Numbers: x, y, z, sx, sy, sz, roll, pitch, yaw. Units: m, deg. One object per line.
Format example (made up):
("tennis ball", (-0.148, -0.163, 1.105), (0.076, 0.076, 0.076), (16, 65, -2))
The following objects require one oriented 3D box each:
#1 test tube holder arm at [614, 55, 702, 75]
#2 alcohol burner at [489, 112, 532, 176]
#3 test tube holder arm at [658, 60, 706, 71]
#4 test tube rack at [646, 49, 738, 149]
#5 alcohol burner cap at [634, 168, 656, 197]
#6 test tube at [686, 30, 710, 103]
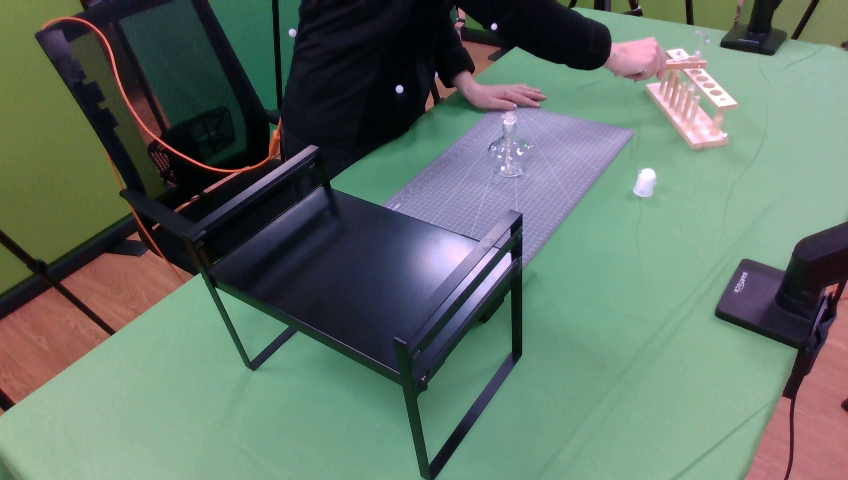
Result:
("test tube holder arm", (0.439, -0.328, 1.134), (0.179, 0.015, 0.013), (-10, 48, -10))
("alcohol burner", (0.155, -0.176, 1.084), (0.078, 0.119, 0.077), (-3, 41, 3))
("test tube holder arm", (0.484, -0.328, 1.136), (0.088, 0.015, 0.010), (4, 49, 2))
("test tube rack", (0.511, -0.280, 1.175), (0.067, 0.085, 0.241), (-8, 41, 0))
("alcohol burner cap", (0.374, -0.099, 1.018), (0.034, 0.048, 0.033), (-1, 41, 1))
("test tube", (0.520, -0.325, 1.150), (0.017, 0.151, 0.017), (-4, 44, 4))
